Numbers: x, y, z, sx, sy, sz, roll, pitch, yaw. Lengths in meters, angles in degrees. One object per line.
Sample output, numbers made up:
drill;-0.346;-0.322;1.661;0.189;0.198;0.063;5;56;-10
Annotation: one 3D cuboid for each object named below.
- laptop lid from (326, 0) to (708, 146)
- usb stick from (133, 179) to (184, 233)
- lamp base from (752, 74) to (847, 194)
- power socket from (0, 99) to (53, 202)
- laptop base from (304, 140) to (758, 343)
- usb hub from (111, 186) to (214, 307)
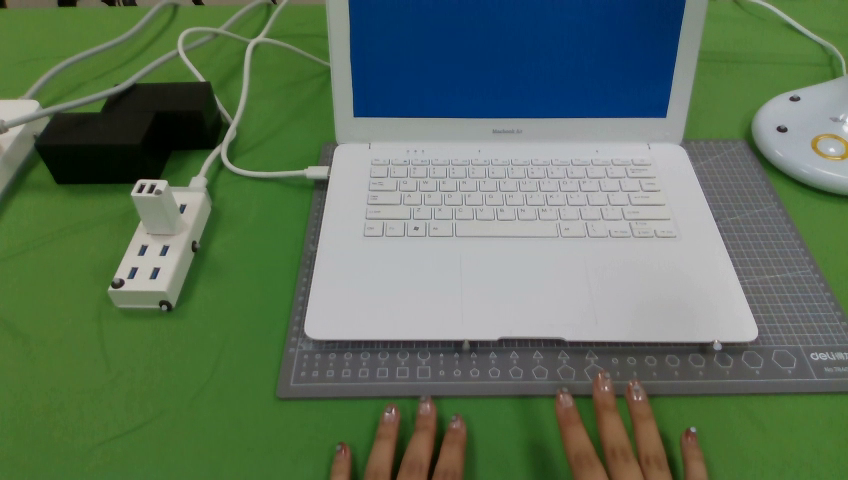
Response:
laptop lid;0.085;-0.198;0.570;0.357;0.243;0.013;-1;26;1
usb stick;-0.222;-0.023;0.515;0.027;0.060;0.021;-1;47;2
lamp base;0.430;-0.163;0.579;0.159;0.182;0.178;24;49;21
power socket;-0.440;-0.067;0.589;0.072;0.033;0.224;1;47;0
laptop base;0.084;-0.006;0.543;0.354;0.023;0.233;0;51;0
usb hub;-0.226;0.002;0.531;0.049;0.025;0.124;0;47;2
